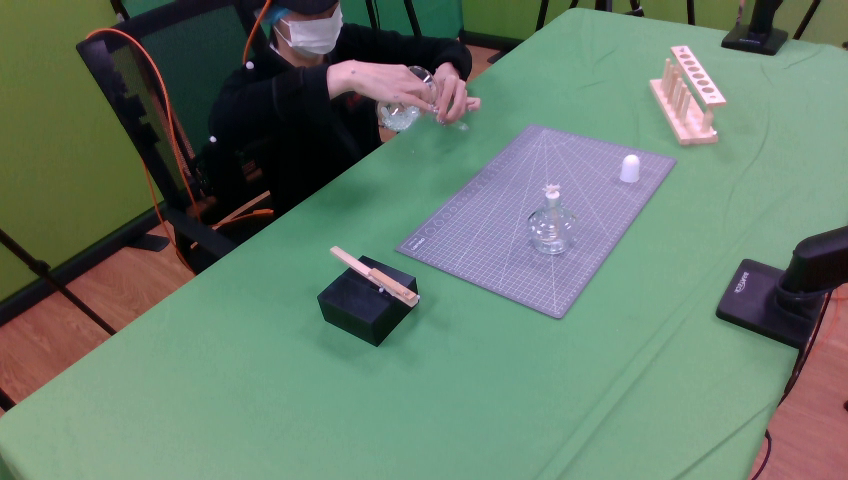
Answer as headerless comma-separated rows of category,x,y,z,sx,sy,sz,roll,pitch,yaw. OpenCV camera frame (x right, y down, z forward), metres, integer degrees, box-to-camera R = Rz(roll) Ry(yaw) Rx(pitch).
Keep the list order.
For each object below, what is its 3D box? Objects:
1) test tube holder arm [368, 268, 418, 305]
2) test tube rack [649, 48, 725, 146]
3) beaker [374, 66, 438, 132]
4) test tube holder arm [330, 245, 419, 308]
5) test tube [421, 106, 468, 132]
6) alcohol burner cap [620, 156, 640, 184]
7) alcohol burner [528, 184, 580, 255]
test tube holder arm,-0.043,0.063,0.827,0.015,0.010,0.087,-37,47,-29
test tube rack,0.508,-0.285,1.186,0.067,0.085,0.241,-4,40,6
beaker,-0.030,-0.229,1.001,0.073,0.084,0.100,3,39,32
test tube holder arm,-0.074,0.049,0.857,0.177,0.013,0.015,30,53,36
test tube,0.041,-0.222,1.115,0.017,0.017,0.151,23,8,32
alcohol burner cap,0.358,-0.124,1.047,0.034,0.048,0.033,-4,40,4
alcohol burner,0.196,-0.036,0.911,0.078,0.119,0.077,-6,41,5
